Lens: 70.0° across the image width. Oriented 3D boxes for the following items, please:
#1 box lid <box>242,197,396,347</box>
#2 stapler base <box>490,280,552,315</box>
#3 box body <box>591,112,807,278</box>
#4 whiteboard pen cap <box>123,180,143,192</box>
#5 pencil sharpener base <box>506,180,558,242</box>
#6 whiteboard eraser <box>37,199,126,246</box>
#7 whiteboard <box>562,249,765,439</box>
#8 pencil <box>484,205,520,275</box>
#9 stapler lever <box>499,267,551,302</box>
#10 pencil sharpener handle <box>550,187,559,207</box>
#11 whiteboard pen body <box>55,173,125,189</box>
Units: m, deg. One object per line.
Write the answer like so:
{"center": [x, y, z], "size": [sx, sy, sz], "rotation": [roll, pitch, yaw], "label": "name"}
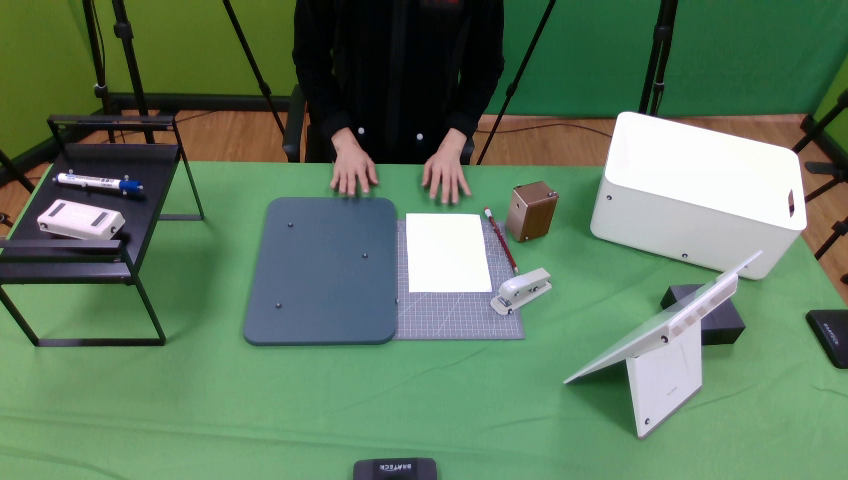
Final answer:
{"center": [-0.186, 0.046, 1.147], "size": [0.263, 0.015, 0.369], "rotation": [0, 46, -3], "label": "box lid"}
{"center": [0.181, 0.094, 1.118], "size": [0.130, 0.024, 0.041], "rotation": [-24, 56, -29], "label": "stapler base"}
{"center": [0.540, -0.092, 1.230], "size": [0.363, 0.161, 0.253], "rotation": [16, 47, 11], "label": "box body"}
{"center": [-0.479, -0.089, 0.993], "size": [0.033, 0.018, 0.018], "rotation": [7, 46, 14], "label": "whiteboard pen cap"}
{"center": [0.216, -0.059, 1.211], "size": [0.077, 0.107, 0.061], "rotation": [-16, 49, -19], "label": "pencil sharpener base"}
{"center": [-0.518, -0.025, 0.918], "size": [0.112, 0.042, 0.055], "rotation": [12, 49, 7], "label": "whiteboard eraser"}
{"center": [0.386, 0.176, 0.905], "size": [0.217, 0.306, 0.143], "rotation": [-26, 72, -26], "label": "whiteboard"}
{"center": [0.156, -0.002, 1.218], "size": [0.012, 0.012, 0.192], "rotation": [-10, 48, -13], "label": "pencil"}
{"center": [0.185, 0.076, 1.101], "size": [0.118, 0.040, 0.026], "rotation": [-25, 56, -29], "label": "stapler lever"}
{"center": [0.261, -0.084, 1.221], "size": [0.031, 0.068, 0.036], "rotation": [-16, 65, -19], "label": "pencil sharpener handle"}
{"center": [-0.539, -0.095, 0.998], "size": [0.141, 0.017, 0.017], "rotation": [6, 46, 6], "label": "whiteboard pen body"}
